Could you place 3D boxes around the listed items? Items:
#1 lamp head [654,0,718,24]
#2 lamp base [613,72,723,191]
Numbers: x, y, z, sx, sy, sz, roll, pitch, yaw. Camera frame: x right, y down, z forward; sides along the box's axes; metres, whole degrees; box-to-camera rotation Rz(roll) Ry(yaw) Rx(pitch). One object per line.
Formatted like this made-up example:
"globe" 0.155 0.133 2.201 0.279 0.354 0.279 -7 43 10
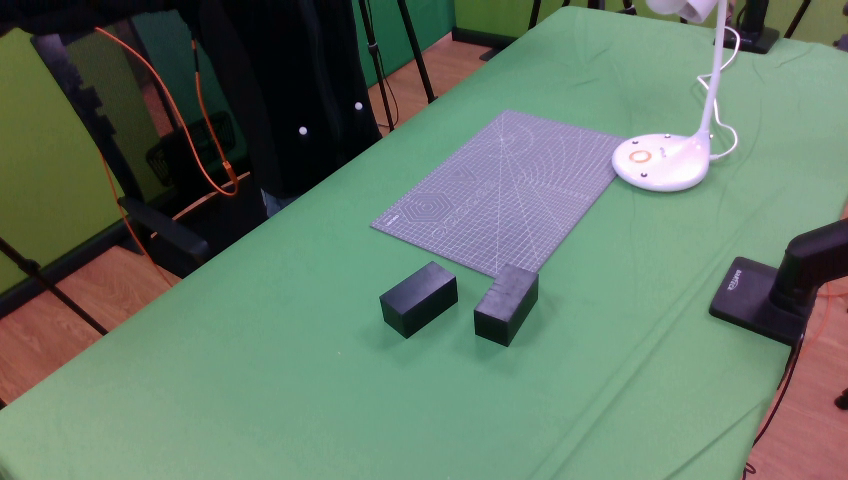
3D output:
"lamp head" 0.356 -0.361 0.788 0.123 0.113 0.111 -51 42 13
"lamp base" 0.423 -0.198 1.020 0.179 0.181 0.159 -6 42 -3
